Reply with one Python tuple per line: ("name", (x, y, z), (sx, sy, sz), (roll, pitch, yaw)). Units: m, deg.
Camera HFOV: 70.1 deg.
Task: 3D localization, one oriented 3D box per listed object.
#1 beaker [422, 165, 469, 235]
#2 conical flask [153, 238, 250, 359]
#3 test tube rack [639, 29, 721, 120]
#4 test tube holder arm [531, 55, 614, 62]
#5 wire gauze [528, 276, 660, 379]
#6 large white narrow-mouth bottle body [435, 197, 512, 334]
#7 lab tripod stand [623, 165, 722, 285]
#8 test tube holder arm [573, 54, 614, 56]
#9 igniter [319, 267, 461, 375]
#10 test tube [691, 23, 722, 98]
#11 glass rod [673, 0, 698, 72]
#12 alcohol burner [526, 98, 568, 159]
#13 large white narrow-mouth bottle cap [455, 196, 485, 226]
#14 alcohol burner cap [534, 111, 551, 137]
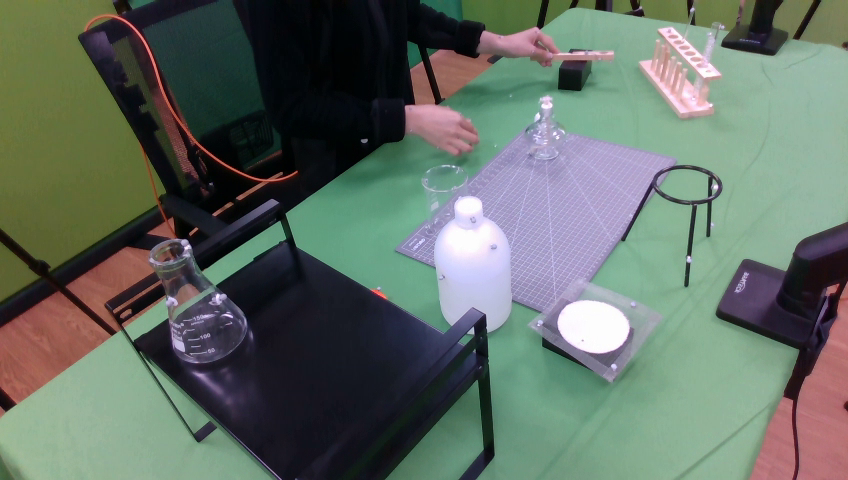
("beaker", (0.041, -0.063, 0.986), (0.073, 0.101, 0.084), (20, 47, 29))
("conical flask", (-0.225, 0.055, 0.597), (0.075, 0.122, 0.075), (-5, 41, 4))
("test tube rack", (0.527, -0.351, 1.262), (0.067, 0.085, 0.241), (-8, 40, 1))
("test tube holder arm", (0.325, -0.399, 1.328), (0.178, 0.015, 0.013), (4, 32, 16))
("wire gauze", (0.214, 0.103, 0.763), (0.124, 0.011, 0.122), (30, 53, 35))
("large white narrow-mouth bottle body", (0.066, 0.028, 0.805), (0.102, 0.195, 0.101), (-4, 40, 4))
("lab tripod stand", (0.365, -0.030, 0.874), (0.148, 0.132, 0.147), (-6, 41, 6))
("test tube holder arm", (0.370, -0.399, 1.319), (0.087, 0.015, 0.010), (4, 32, 17))
("igniter", (-0.060, 0.108, 0.862), (0.274, 0.025, 0.057), (28, 62, 35))
("test tube", (0.547, -0.345, 1.173), (0.017, 0.151, 0.017), (0, 42, 0))
("glass rod", (0.537, -0.425, 1.244), (0.008, 0.200, 0.008), (0, 48, 0))
("alcohol burner", (0.228, -0.210, 1.118), (0.078, 0.119, 0.077), (-5, 43, 5))
("large white narrow-mouth bottle cap", (0.057, -0.036, 0.749), (0.038, 0.024, 0.037), (-4, 40, 4))
("alcohol burner cap", (0.235, -0.231, 1.197), (0.034, 0.048, 0.033), (-5, 39, 5))
